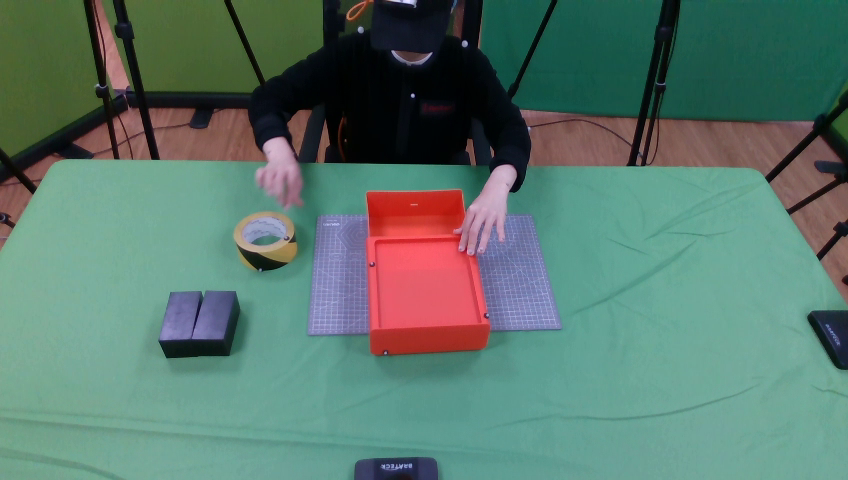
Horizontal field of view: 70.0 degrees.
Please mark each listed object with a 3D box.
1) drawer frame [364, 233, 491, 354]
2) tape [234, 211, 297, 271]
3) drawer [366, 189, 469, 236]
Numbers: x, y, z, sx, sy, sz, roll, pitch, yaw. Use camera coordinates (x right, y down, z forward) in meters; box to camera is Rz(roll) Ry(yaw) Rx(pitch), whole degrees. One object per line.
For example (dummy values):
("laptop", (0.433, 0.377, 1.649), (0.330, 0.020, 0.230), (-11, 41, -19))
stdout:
("drawer frame", (0.000, 0.088, 1.066), (0.202, 0.083, 0.212), (-2, 47, -7))
("tape", (-0.301, 0.002, 1.154), (0.117, 0.053, 0.116), (2, 46, -1))
("drawer", (-0.012, -0.003, 1.156), (0.195, 0.073, 0.210), (-1, 46, -6))
